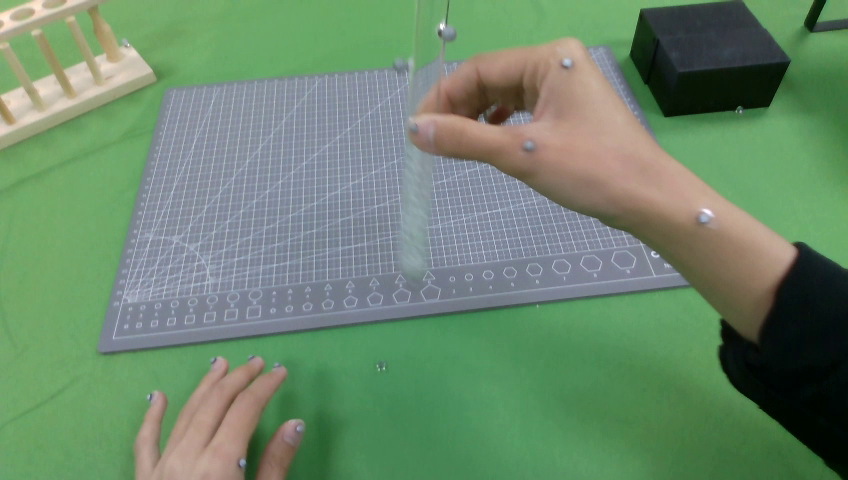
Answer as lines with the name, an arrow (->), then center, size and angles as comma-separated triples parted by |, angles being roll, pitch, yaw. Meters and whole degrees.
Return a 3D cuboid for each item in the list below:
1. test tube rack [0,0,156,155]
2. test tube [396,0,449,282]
test tube rack -> -0.391, -0.142, 0.561 | 0.242, 0.086, 0.066 | -33, 56, -22
test tube -> -0.002, -0.044, 0.296 | 0.017, 0.151, 0.017 | 4, 29, -2
